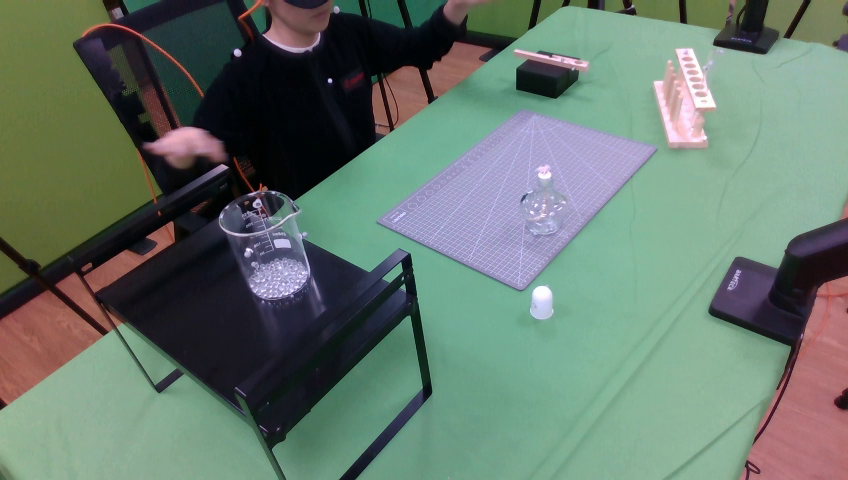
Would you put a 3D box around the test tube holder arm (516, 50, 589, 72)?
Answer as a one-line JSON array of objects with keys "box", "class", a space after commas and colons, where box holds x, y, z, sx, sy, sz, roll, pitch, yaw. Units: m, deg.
[{"box": [0.278, -0.392, 1.318, 0.177, 0.015, 0.013, 24, 61, 32], "class": "test tube holder arm"}]

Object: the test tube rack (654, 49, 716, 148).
[{"box": [0.502, -0.281, 1.176, 0.066, 0.085, 0.241, 2, 41, 11], "class": "test tube rack"}]

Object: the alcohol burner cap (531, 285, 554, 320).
[{"box": [0.164, 0.084, 0.838, 0.034, 0.048, 0.033, -4, 40, 4], "class": "alcohol burner cap"}]

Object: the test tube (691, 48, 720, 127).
[{"box": [0.505, -0.270, 1.088, 0.017, 0.151, 0.017, -1, 40, 2], "class": "test tube"}]

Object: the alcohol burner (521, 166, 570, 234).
[{"box": [0.192, -0.068, 0.951, 0.078, 0.119, 0.077, -4, 42, 4], "class": "alcohol burner"}]

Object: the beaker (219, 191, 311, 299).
[{"box": [-0.164, 0.008, 0.654, 0.084, 0.101, 0.073, -9, 41, -3], "class": "beaker"}]

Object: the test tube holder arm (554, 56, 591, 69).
[{"box": [0.316, -0.381, 1.297, 0.087, 0.015, 0.010, 23, 61, 32], "class": "test tube holder arm"}]
